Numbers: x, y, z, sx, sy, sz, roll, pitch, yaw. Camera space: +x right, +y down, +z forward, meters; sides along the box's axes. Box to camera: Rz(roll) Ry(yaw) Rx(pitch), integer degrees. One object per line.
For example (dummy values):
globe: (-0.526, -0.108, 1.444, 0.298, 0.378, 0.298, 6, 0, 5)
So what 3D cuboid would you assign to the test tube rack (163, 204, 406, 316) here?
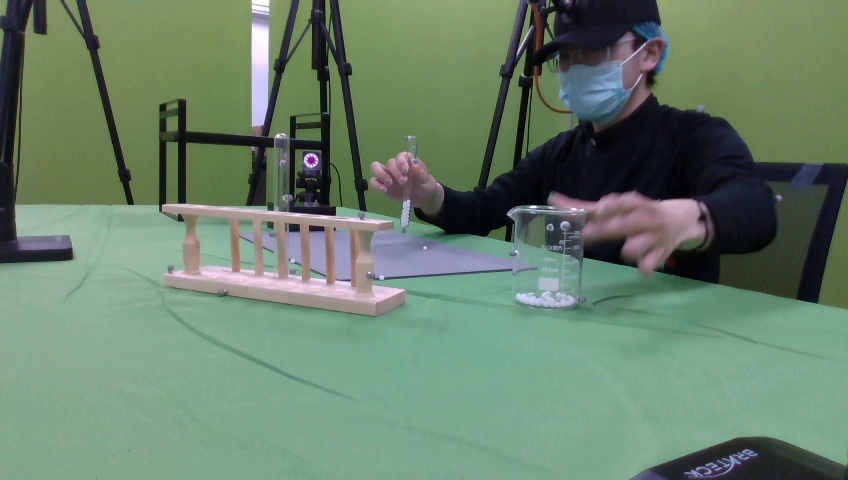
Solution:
test tube rack: (-0.141, 0.013, 0.601, 0.241, 0.085, 0.067, 5, 8, 21)

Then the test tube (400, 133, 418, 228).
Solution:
test tube: (-0.024, -0.093, 0.956, 0.017, 0.150, 0.017, 6, 12, -1)

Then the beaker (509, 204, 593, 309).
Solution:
beaker: (0.126, 0.015, 0.613, 0.084, 0.100, 0.074, 1, 7, -5)

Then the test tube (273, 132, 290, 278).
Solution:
test tube: (-0.146, -0.034, 0.617, 0.017, 0.150, 0.017, 2, 8, 0)
